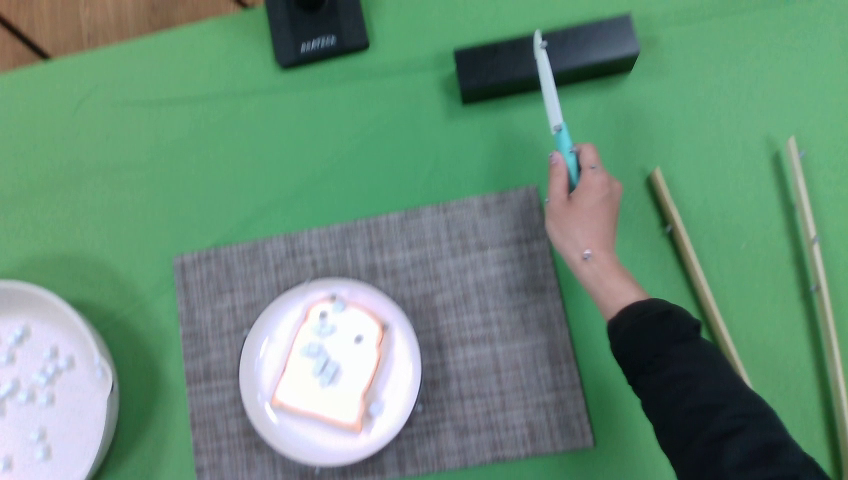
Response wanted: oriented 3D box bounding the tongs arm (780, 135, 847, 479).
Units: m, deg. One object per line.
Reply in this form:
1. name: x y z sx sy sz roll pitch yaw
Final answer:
1. tongs arm: 0.397 0.079 0.636 0.051 0.026 0.383 -8 81 6

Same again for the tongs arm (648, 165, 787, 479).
1. tongs arm: 0.321 0.096 0.646 0.028 0.028 0.385 -20 79 0

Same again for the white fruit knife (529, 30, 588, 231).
1. white fruit knife: 0.135 -0.108 0.614 0.016 0.027 0.208 -19 99 -21

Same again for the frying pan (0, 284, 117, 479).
1. frying pan: -0.465 0.294 0.667 0.307 0.103 0.484 -15 71 5

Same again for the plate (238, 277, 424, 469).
1. plate: -0.101 0.146 0.679 0.207 0.039 0.207 -1 80 7

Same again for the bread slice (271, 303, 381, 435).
1. bread slice: -0.106 0.139 0.682 0.107 0.018 0.134 12 84 8
